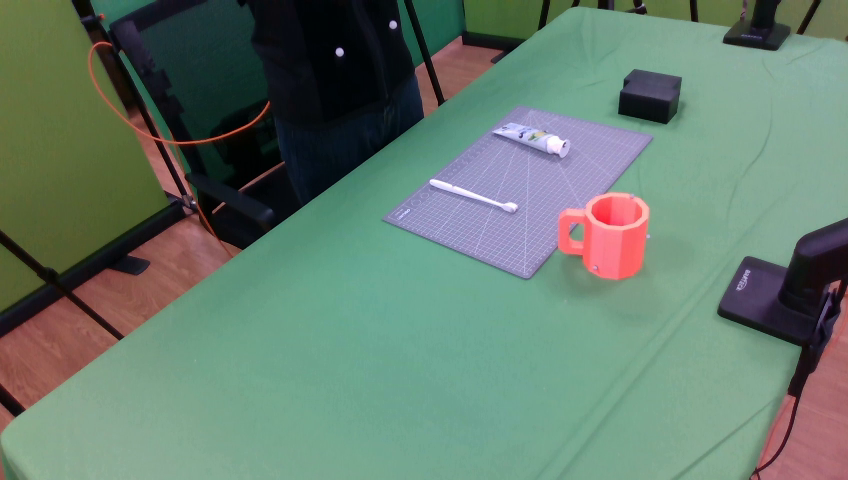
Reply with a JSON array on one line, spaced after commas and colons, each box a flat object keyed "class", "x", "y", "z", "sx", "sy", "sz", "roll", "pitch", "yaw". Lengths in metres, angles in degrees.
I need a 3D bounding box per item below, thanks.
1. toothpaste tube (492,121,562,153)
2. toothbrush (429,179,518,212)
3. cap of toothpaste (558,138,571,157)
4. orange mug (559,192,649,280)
[{"class": "toothpaste tube", "x": 0.209, "y": -0.203, "z": 1.174, "sx": 0.055, "sy": 0.034, "sz": 0.163, "roll": -27, "pitch": 39, "yaw": -30}, {"class": "toothbrush", "x": 0.084, "y": -0.081, "z": 1.062, "sx": 0.180, "sy": 0.014, "sz": 0.017, "roll": 20, "pitch": 45, "yaw": 30}, {"class": "cap of toothpaste", "x": 0.258, "y": -0.171, "z": 1.118, "sx": 0.011, "sy": 0.037, "sz": 0.037, "roll": 25, "pitch": 52, "yaw": 32}, {"class": "orange mug", "x": 0.261, "y": -0.008, "z": 0.884, "sx": 0.126, "sy": 0.101, "sz": 0.083, "roll": 9, "pitch": 43, "yaw": 14}]
